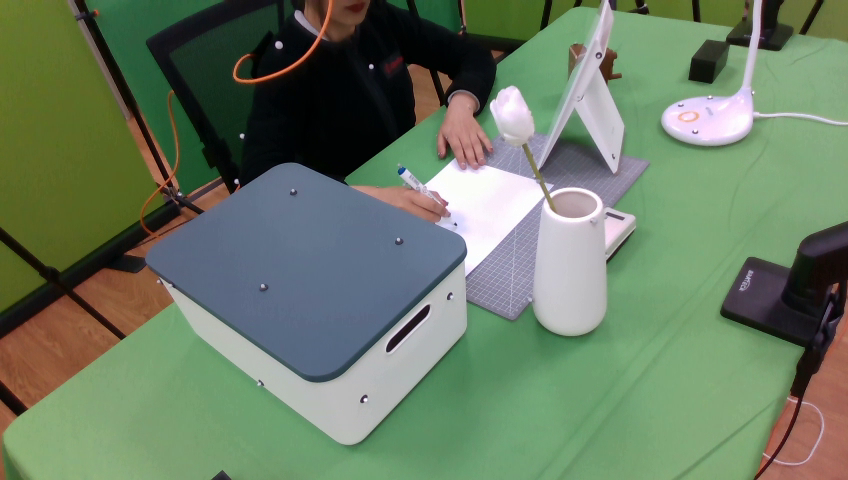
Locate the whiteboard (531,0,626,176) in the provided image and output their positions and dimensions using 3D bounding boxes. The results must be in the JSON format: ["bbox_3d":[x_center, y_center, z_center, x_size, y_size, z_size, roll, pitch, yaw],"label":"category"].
[{"bbox_3d":[0.320,-0.259,1.050,0.144,0.306,0.217,22,45,6],"label":"whiteboard"}]

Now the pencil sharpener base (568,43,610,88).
[{"bbox_3d":[0.345,-0.352,1.263,0.077,0.107,0.061,-8,40,1],"label":"pencil sharpener base"}]

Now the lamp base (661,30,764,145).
[{"bbox_3d":[0.535,-0.287,1.096,0.179,0.181,0.159,-10,40,-4],"label":"lamp base"}]

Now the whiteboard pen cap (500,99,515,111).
[{"bbox_3d":[0.177,-0.287,1.290,0.033,0.018,0.018,-37,47,-26],"label":"whiteboard pen cap"}]

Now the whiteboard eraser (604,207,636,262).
[{"bbox_3d":[0.272,-0.003,0.919,0.055,0.042,0.113,27,51,32],"label":"whiteboard eraser"}]

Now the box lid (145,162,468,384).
[{"bbox_3d":[-0.157,0.014,0.769,0.368,0.015,0.264,25,51,33],"label":"box lid"}]

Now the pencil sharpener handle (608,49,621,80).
[{"bbox_3d":[0.394,-0.367,1.253,0.030,0.068,0.036,-8,32,1],"label":"pencil sharpener handle"}]

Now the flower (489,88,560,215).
[{"bbox_3d":[0.158,-0.027,0.720,0.038,0.364,0.044,-14,44,23],"label":"flower"}]

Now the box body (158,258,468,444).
[{"bbox_3d":[-0.147,0.072,0.816,0.361,0.161,0.255,24,50,33],"label":"box body"}]

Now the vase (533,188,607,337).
[{"bbox_3d":[0.187,0.033,0.771,0.098,0.201,0.097,-6,41,6],"label":"vase"}]

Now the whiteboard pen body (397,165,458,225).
[{"bbox_3d":[0.008,-0.070,0.980,0.017,0.142,0.017,-37,26,22],"label":"whiteboard pen body"}]
